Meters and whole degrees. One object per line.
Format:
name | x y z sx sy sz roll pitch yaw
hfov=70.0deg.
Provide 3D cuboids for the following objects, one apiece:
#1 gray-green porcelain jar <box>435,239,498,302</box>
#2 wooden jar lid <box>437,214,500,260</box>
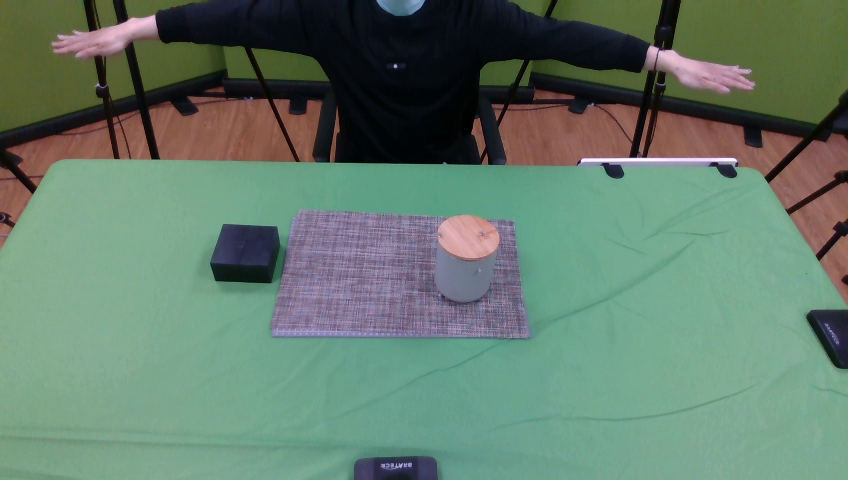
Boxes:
gray-green porcelain jar | 0.073 0.041 1.083 0.106 0.127 0.105 2 46 -2
wooden jar lid | 0.076 -0.002 1.038 0.108 0.021 0.107 2 44 -1
